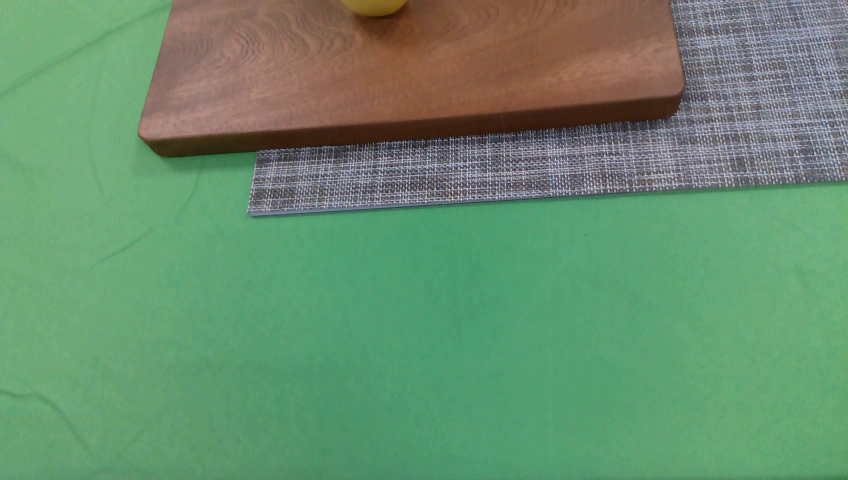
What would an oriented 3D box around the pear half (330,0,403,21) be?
[{"bbox_3d":[-0.056,-0.209,0.434,0.056,0.111,0.075,-31,60,-5],"label":"pear half"}]
